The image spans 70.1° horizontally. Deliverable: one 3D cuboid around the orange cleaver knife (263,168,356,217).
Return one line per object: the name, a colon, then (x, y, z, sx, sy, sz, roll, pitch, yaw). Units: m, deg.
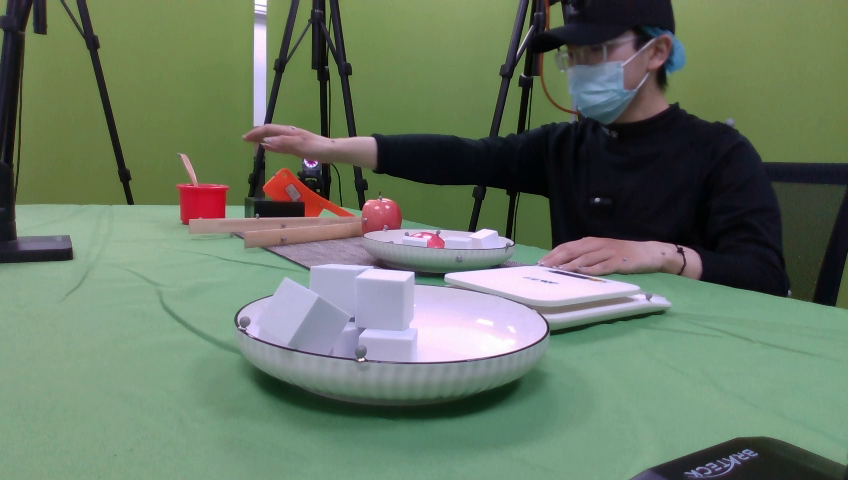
orange cleaver knife: (-0.241, -0.078, 1.296, 0.212, 0.077, 0.012, 32, -11, -26)

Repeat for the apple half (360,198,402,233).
apple half: (-0.066, -0.032, 1.014, 0.053, 0.074, 0.081, 9, 6, 21)

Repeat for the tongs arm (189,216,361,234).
tongs arm: (-0.221, -0.028, 1.088, 0.387, 0.026, 0.050, -3, 8, -43)

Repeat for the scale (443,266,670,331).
scale: (0.131, 0.052, 0.603, 0.202, 0.031, 0.148, -2, 9, -37)

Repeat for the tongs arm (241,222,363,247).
tongs arm: (-0.159, -0.017, 1.034, 0.028, 0.028, 0.389, 2, 6, 33)

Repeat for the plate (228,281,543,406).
plate: (-0.025, 0.067, 0.413, 0.208, 0.039, 0.207, 3, 7, 0)

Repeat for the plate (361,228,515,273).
plate: (0.018, 0.013, 0.818, 0.209, 0.038, 0.209, 2, 7, 0)

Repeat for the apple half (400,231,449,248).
apple half: (0.003, 0.005, 0.843, 0.081, 0.033, 0.081, 1, 4, 0)

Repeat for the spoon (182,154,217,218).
spoon: (-0.455, -0.107, 1.212, 0.042, 0.021, 0.193, -6, 55, -35)
